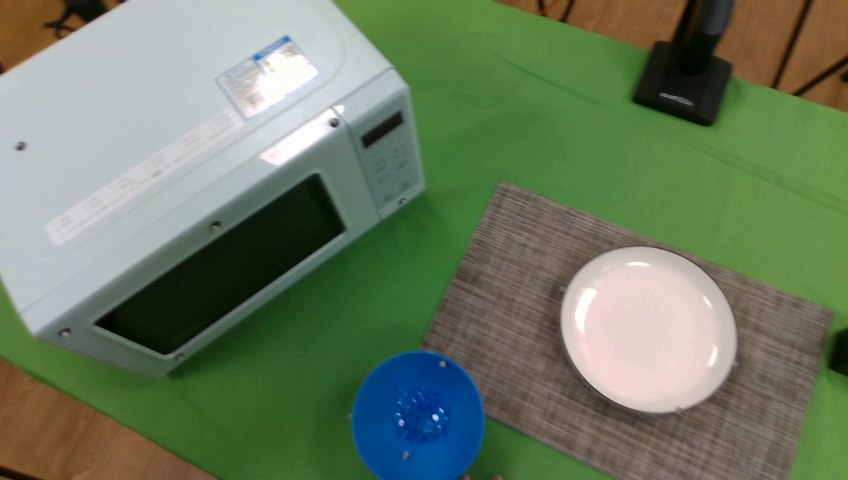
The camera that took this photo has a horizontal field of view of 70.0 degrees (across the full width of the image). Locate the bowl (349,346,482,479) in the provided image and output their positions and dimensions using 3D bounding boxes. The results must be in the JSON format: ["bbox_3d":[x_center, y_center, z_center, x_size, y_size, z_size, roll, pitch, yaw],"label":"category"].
[{"bbox_3d":[-0.007,0.207,0.711,0.151,0.077,0.150,-2,69,4],"label":"bowl"}]

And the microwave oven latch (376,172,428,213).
[{"bbox_3d":[-0.032,-0.071,0.823,0.079,0.030,0.030,-35,71,-8],"label":"microwave oven latch"}]

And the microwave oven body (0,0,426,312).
[{"bbox_3d":[-0.270,-0.112,0.752,0.441,0.262,0.323,-36,71,-9],"label":"microwave oven body"}]

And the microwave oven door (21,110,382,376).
[{"bbox_3d":[-0.217,0.017,0.693,0.356,0.245,0.039,-36,69,-10],"label":"microwave oven door"}]

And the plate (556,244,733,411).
[{"bbox_3d":[0.267,0.107,0.748,0.207,0.039,0.206,-1,69,3],"label":"plate"}]
